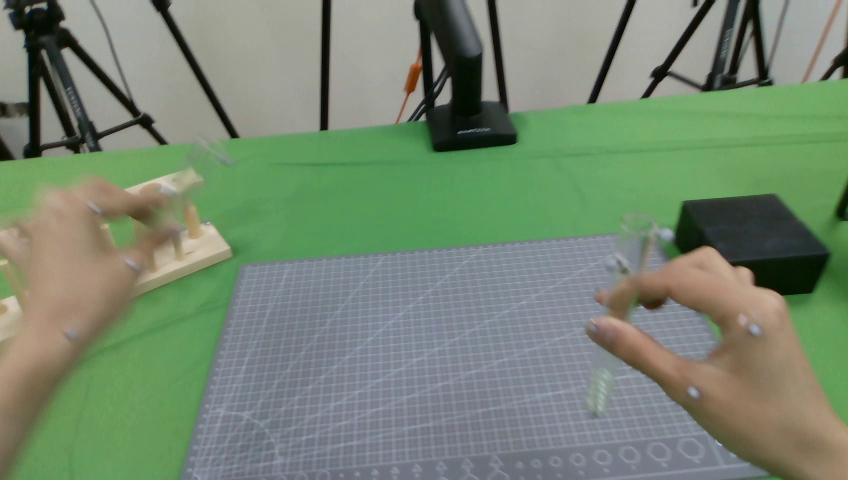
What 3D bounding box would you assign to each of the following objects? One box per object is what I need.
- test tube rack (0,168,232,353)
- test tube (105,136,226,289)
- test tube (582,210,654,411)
[{"bbox_3d":[-0.331,0.016,0.611,0.243,0.086,0.066,-25,43,-26],"label":"test tube rack"},{"bbox_3d":[-0.180,-0.014,0.415,0.017,0.150,0.017,36,26,-20],"label":"test tube"},{"bbox_3d":[0.099,0.045,0.320,0.017,0.151,0.017,-2,42,2],"label":"test tube"}]
